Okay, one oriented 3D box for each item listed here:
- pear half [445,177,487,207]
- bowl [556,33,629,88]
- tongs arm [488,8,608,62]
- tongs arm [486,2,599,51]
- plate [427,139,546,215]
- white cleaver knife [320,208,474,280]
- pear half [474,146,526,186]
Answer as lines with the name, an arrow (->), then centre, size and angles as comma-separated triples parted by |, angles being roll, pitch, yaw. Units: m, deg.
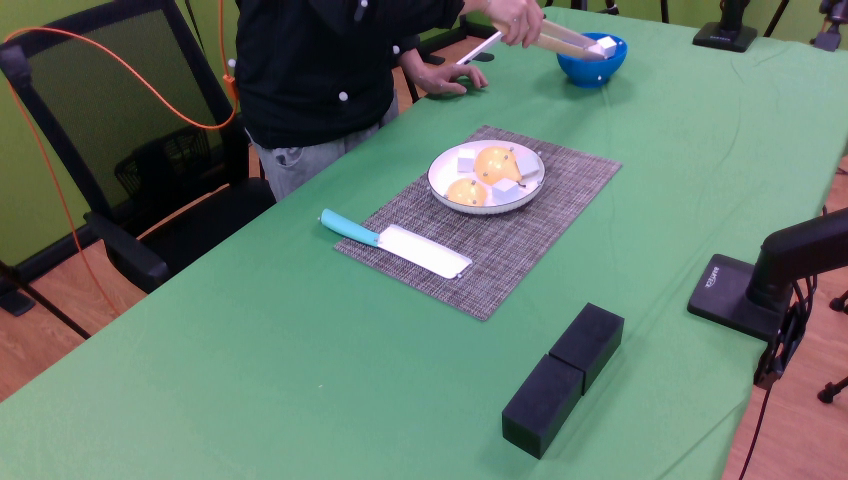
pear half -> 0.072, -0.086, 1.032 | 0.070, 0.031, 0.087 | -20, 36, -10
bowl -> 0.362, -0.385, 1.318 | 0.151, 0.077, 0.150 | -4, 41, 4
tongs arm -> 0.256, -0.391, 1.182 | 0.388, 0.026, 0.050 | -8, 63, -48
tongs arm -> 0.245, -0.413, 1.192 | 0.391, 0.027, 0.028 | -4, 63, -47
plate -> 0.109, -0.106, 1.058 | 0.207, 0.039, 0.206 | -4, 41, 4
white cleaver knife -> -0.053, 0.001, 0.978 | 0.284, 0.021, 0.066 | 23, 40, 26
pear half -> 0.140, -0.129, 1.058 | 0.076, 0.056, 0.109 | -36, 51, -25
